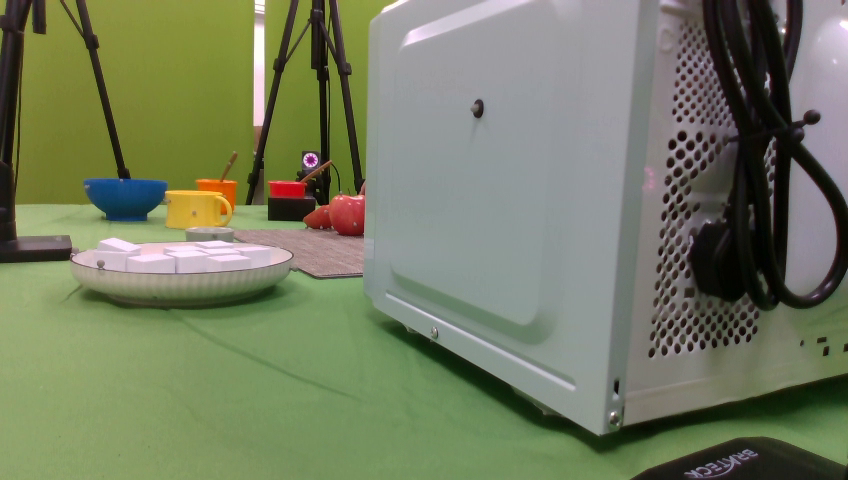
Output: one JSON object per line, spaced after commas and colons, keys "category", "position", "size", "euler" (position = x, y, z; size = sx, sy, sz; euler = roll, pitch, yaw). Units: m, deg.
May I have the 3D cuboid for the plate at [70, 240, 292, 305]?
{"category": "plate", "position": [-0.242, 0.032, 0.618], "size": [0.208, 0.039, 0.207], "euler": [2, 7, 0]}

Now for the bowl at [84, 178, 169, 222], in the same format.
{"category": "bowl", "position": [-0.584, -0.078, 1.194], "size": [0.151, 0.077, 0.151], "euler": [3, 8, 0]}

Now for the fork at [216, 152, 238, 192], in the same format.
{"category": "fork", "position": [-0.455, -0.132, 1.366], "size": [0.028, 0.018, 0.207], "euler": [-2, -35, -38]}

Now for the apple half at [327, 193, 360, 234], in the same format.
{"category": "apple half", "position": [-0.132, -0.047, 1.087], "size": [0.081, 0.074, 0.053], "euler": [4, 11, -13]}

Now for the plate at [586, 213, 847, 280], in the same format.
{"category": "plate", "position": [0.244, 0.002, 0.512], "size": [0.209, 0.038, 0.209], "euler": [1, 7, 0]}

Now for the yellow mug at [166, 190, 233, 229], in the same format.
{"category": "yellow mug", "position": [-0.415, -0.057, 1.132], "size": [0.130, 0.064, 0.100], "euler": [6, 8, 16]}

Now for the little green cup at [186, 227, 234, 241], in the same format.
{"category": "little green cup", "position": [-0.284, 0.005, 0.805], "size": [0.061, 0.038, 0.061], "euler": [2, 8, 0]}

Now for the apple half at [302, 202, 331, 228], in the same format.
{"category": "apple half", "position": [-0.192, -0.043, 1.169], "size": [0.081, 0.032, 0.081], "euler": [-23, -12, -5]}

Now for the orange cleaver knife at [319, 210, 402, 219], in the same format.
{"category": "orange cleaver knife", "position": [-0.142, -0.058, 1.394], "size": [0.077, 0.012, 0.212], "euler": [1, 6, 44]}

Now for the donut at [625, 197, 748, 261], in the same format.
{"category": "donut", "position": [0.223, -0.008, 0.519], "size": [0.099, 0.048, 0.099], "euler": [14, 2, 0]}

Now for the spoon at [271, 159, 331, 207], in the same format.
{"category": "spoon", "position": [-0.307, -0.141, 1.513], "size": [0.193, 0.021, 0.041], "euler": [-42, 3, 8]}

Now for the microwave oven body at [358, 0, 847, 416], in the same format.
{"category": "microwave oven body", "position": [0.211, -0.047, 0.474], "size": [0.444, 0.260, 0.324], "euler": [-1, 7, -28]}

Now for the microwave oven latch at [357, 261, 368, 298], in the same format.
{"category": "microwave oven latch", "position": [-0.019, 0.033, 0.530], "size": [0.079, 0.029, 0.030], "euler": [-1, 7, -26]}

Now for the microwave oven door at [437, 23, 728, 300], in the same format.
{"category": "microwave oven door", "position": [0.181, -0.072, 0.621], "size": [0.358, 0.243, 0.039], "euler": [-2, 8, -29]}
